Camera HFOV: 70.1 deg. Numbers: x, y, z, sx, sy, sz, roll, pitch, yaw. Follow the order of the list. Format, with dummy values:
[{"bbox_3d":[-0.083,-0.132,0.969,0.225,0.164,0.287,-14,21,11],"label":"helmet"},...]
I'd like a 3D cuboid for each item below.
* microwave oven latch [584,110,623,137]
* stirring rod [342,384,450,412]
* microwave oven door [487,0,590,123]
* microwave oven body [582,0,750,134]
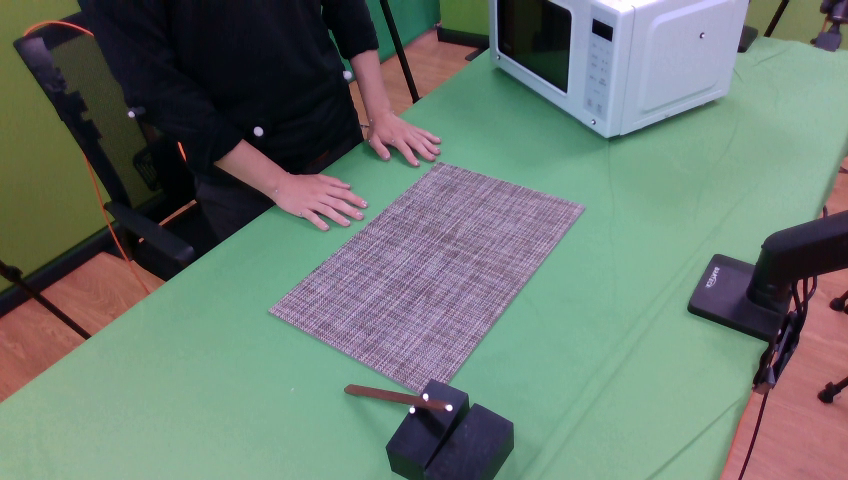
[{"bbox_3d":[0.337,-0.222,1.142,0.030,0.029,0.078,-21,42,-14],"label":"microwave oven latch"},{"bbox_3d":[-0.038,0.186,0.714,0.175,0.006,0.014,-3,22,43],"label":"stirring rod"},{"bbox_3d":[0.232,-0.420,1.231,0.039,0.245,0.352,-22,43,-16],"label":"microwave oven door"},{"bbox_3d":[0.382,-0.444,1.246,0.327,0.261,0.437,-22,42,-16],"label":"microwave oven body"}]
